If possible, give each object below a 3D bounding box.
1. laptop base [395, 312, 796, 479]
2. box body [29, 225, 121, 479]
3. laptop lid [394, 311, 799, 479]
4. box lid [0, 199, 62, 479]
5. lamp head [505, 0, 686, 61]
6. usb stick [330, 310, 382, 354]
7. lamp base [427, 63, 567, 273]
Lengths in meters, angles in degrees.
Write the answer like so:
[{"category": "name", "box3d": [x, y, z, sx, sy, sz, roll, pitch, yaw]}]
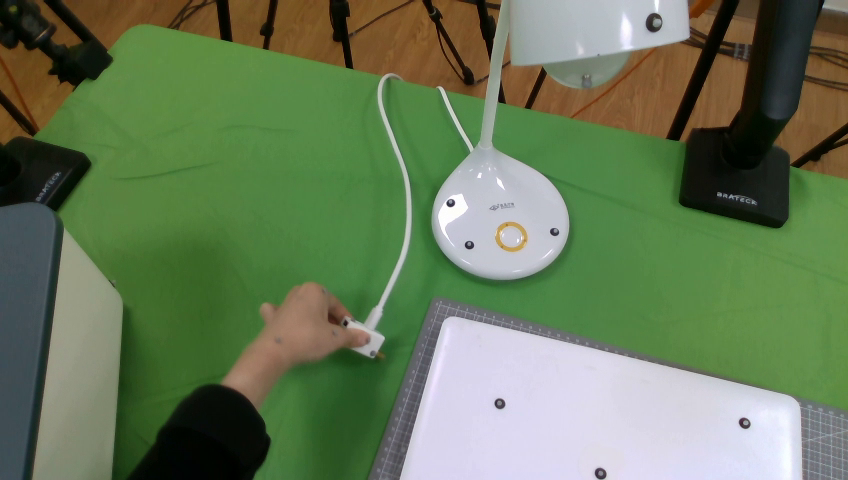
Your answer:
[{"category": "laptop base", "box3d": [0.158, 0.211, 0.564, 0.353, 0.023, 0.234, 12, 64, 8]}, {"category": "box body", "box3d": [-0.419, 0.175, 0.511, 0.254, 0.162, 0.360, -10, 60, -5]}, {"category": "laptop lid", "box3d": [0.157, 0.207, 0.552, 0.356, 0.013, 0.240, 14, 63, 9]}, {"category": "box lid", "box3d": [-0.420, 0.135, 0.449, 0.263, 0.015, 0.368, -10, 61, -5]}, {"category": "lamp head", "box3d": [0.099, -0.178, 0.375, 0.112, 0.112, 0.123, -13, 104, -6]}, {"category": "usb stick", "box3d": [-0.064, 0.097, 0.616, 0.027, 0.060, 0.021, -55, 29, -2]}, {"category": "lamp base", "box3d": [0.077, -0.082, 0.642, 0.161, 0.182, 0.177, -20, 58, -10]}]
